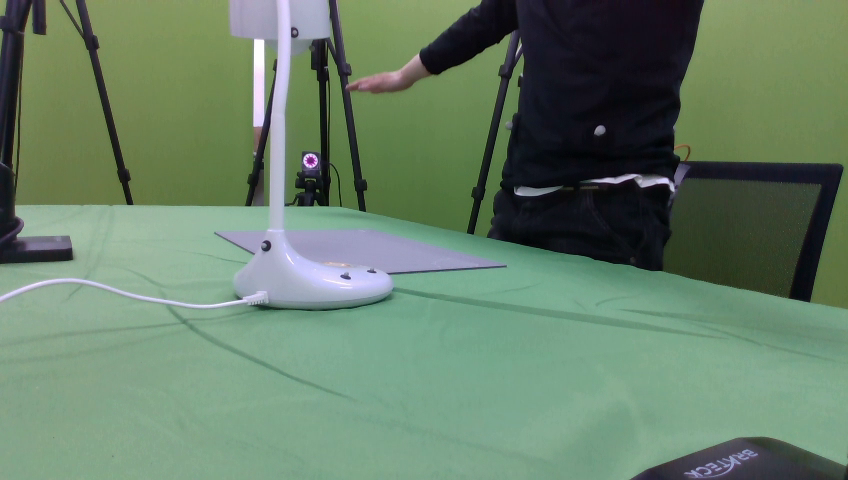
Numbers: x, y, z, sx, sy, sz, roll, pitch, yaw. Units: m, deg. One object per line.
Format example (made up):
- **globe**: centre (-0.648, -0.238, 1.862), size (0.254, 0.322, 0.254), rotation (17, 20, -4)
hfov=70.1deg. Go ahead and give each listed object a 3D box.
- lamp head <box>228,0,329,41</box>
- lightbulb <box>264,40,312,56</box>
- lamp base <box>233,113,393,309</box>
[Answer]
- **lamp head**: centre (-0.161, -0.280, 0.657), size (0.112, 0.123, 0.112), rotation (2, 29, -1)
- **lightbulb**: centre (-0.156, -0.261, 0.673), size (0.059, 0.107, 0.059), rotation (-3, 23, 2)
- **lamp base**: centre (-0.113, -0.032, 0.595), size (0.160, 0.180, 0.179), rotation (4, 10, 18)
